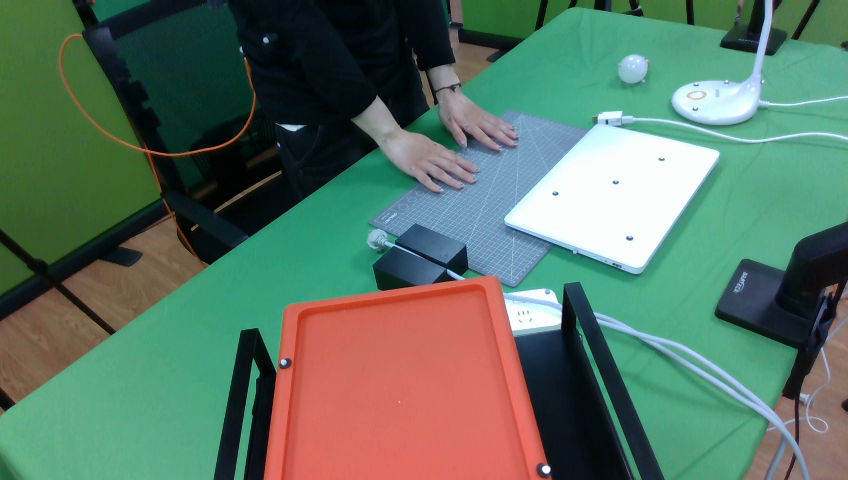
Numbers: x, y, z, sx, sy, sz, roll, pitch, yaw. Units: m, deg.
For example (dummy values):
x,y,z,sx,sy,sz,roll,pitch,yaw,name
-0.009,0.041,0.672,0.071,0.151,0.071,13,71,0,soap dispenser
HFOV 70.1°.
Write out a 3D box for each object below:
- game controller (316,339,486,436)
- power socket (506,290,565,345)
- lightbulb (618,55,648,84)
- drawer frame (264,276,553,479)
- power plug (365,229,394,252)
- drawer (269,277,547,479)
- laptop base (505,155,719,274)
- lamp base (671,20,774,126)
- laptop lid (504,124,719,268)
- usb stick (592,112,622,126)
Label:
x,y,z,sx,sy,sz,roll,pitch,yaw,name
-0.020,0.119,0.533,0.155,0.052,0.096,-3,40,1,game controller
0.081,0.112,0.822,0.227,0.033,0.072,-7,41,0,power socket
0.464,-0.376,1.324,0.059,0.059,0.108,22,34,30,lightbulb
-0.016,0.137,0.490,0.202,0.083,0.212,-8,41,-1,drawer frame
-0.068,0.010,0.954,0.035,0.053,0.072,-40,53,2,power plug
-0.018,0.137,0.493,0.195,0.073,0.210,-7,41,-1,drawer
0.326,-0.083,1.028,0.233,0.023,0.355,21,48,32,laptop base
0.581,-0.332,1.154,0.179,0.181,0.160,2,42,7,lamp base
0.323,-0.093,1.021,0.240,0.013,0.358,23,49,32,laptop lid
0.360,-0.239,1.197,0.059,0.021,0.027,4,43,28,usb stick
